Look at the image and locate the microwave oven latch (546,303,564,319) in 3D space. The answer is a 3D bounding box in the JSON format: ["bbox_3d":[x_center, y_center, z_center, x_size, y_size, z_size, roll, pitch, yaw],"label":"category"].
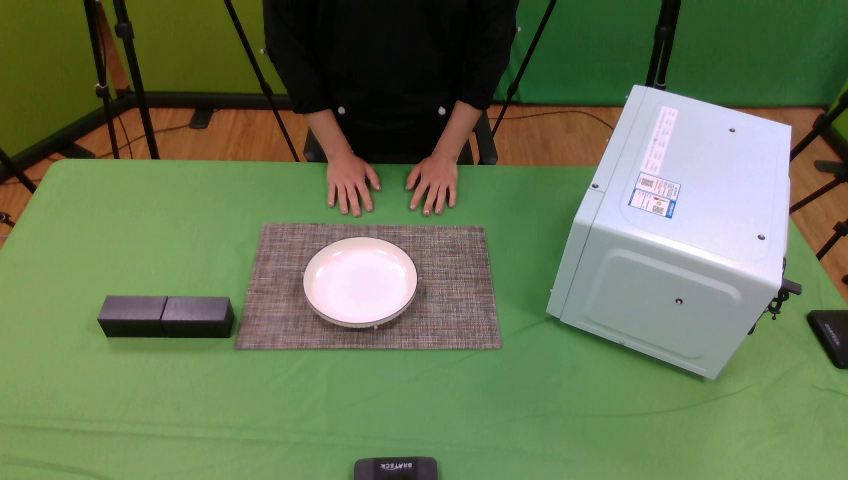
[{"bbox_3d":[0.242,0.102,1.081,0.030,0.029,0.079,21,48,17],"label":"microwave oven latch"}]

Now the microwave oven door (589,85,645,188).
[{"bbox_3d":[0.342,-0.107,1.149,0.039,0.245,0.354,20,48,15],"label":"microwave oven door"}]

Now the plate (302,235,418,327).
[{"bbox_3d":[-0.114,0.077,1.098,0.208,0.039,0.206,2,46,-2],"label":"plate"}]

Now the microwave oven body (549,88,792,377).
[{"bbox_3d":[0.456,-0.028,1.088,0.325,0.261,0.440,20,47,16],"label":"microwave oven body"}]
